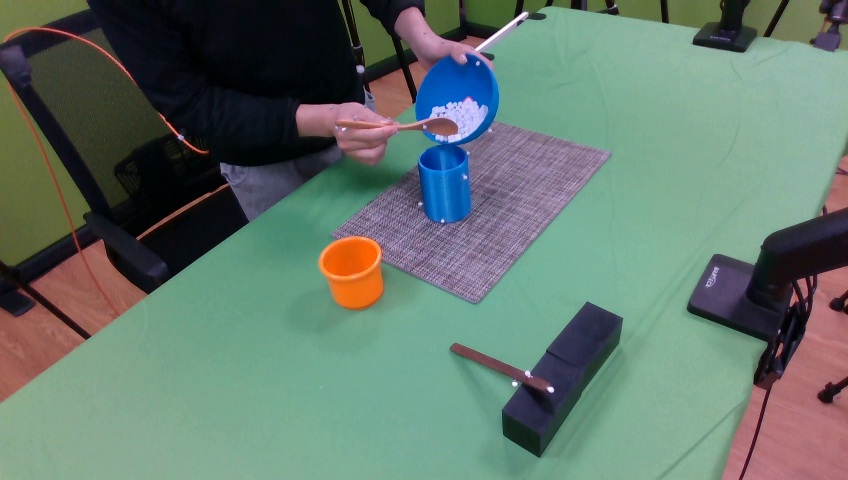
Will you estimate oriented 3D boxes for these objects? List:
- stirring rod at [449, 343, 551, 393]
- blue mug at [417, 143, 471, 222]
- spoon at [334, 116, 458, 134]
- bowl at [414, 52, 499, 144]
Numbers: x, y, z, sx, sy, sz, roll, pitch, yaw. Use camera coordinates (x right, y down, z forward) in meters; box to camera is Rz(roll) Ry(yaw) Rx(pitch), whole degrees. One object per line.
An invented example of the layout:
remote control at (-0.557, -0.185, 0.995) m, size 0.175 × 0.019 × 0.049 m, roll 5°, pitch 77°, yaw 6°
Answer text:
stirring rod at (0.088, 0.154, 0.741) m, size 0.014 × 0.006 × 0.174 m, roll -40°, pitch 28°, yaw -25°
blue mug at (0.031, -0.104, 1.014) m, size 0.082 × 0.106 × 0.115 m, roll -14°, pitch 41°, yaw -8°
spoon at (-0.040, -0.177, 0.925) m, size 0.195 × 0.041 × 0.021 m, roll -4°, pitch 65°, yaw -21°
bowl at (0.067, -0.223, 0.998) m, size 0.150 × 0.151 × 0.077 m, roll 27°, pitch 8°, yaw 33°
